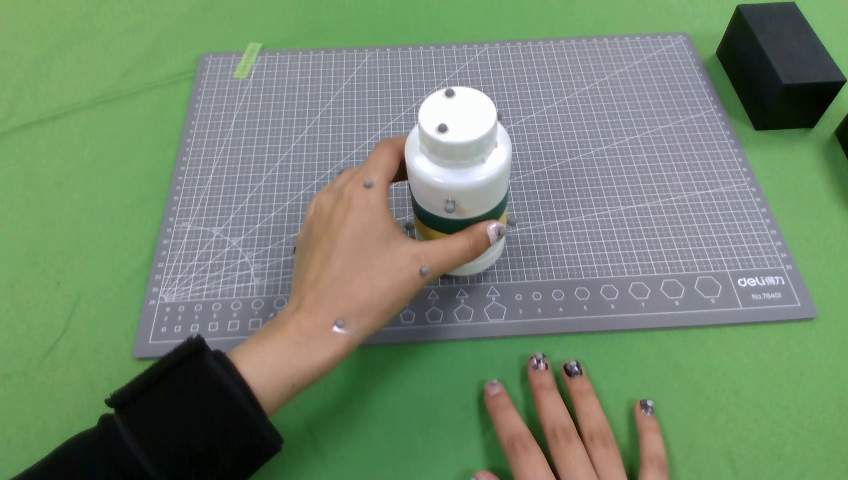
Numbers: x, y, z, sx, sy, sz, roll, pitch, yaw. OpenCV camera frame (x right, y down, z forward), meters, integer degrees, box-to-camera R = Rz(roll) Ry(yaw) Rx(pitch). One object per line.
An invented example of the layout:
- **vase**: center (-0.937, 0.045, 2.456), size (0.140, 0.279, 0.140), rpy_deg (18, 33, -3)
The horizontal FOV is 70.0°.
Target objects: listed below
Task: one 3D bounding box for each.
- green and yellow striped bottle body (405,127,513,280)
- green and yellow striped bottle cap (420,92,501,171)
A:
- **green and yellow striped bottle body**: center (0.022, -0.031, 0.375), size (0.063, 0.121, 0.062), rpy_deg (-2, 56, 3)
- **green and yellow striped bottle cap**: center (0.020, -0.060, 0.332), size (0.045, 0.020, 0.045), rpy_deg (-2, 55, 4)
